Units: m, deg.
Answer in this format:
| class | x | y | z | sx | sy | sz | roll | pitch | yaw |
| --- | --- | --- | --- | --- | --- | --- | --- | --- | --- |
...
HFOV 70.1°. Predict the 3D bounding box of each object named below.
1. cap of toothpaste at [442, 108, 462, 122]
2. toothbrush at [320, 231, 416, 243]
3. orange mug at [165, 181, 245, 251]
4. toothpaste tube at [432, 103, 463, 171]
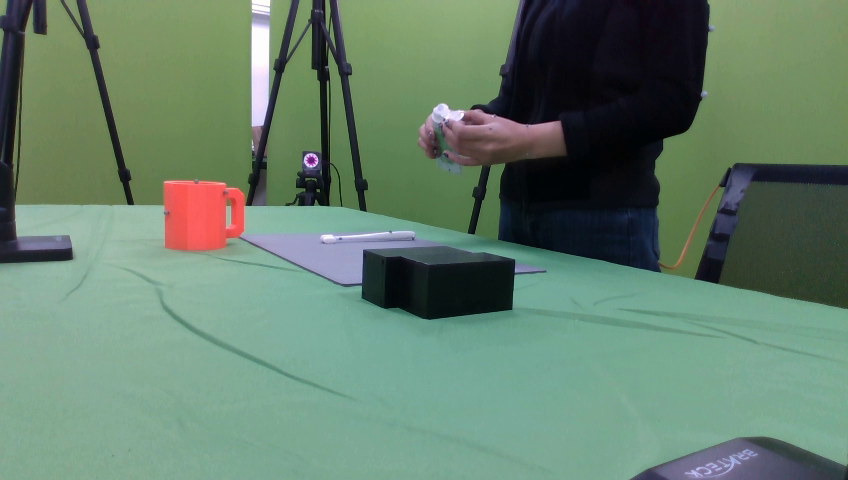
| class | x | y | z | sx | sy | sz | roll | pitch | yaw |
| --- | --- | --- | --- | --- | --- | --- | --- | --- | --- |
| cap of toothpaste | 0.045 | -0.206 | 0.995 | 0.037 | 0.011 | 0.037 | -21 | 24 | 11 |
| toothbrush | -0.089 | -0.006 | 1.025 | 0.183 | 0.014 | 0.016 | -3 | 13 | -34 |
| orange mug | -0.326 | -0.040 | 0.911 | 0.083 | 0.101 | 0.127 | 8 | 14 | 37 |
| toothpaste tube | 0.040 | -0.182 | 1.077 | 0.055 | 0.034 | 0.165 | 26 | -25 | 22 |
